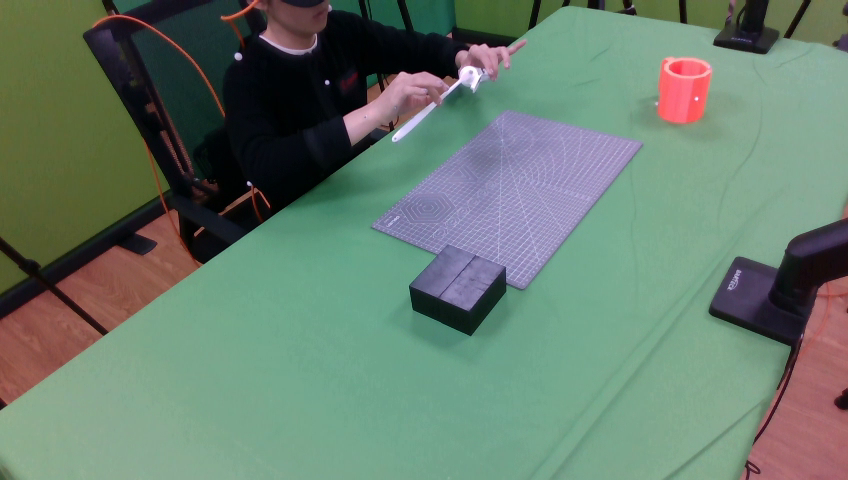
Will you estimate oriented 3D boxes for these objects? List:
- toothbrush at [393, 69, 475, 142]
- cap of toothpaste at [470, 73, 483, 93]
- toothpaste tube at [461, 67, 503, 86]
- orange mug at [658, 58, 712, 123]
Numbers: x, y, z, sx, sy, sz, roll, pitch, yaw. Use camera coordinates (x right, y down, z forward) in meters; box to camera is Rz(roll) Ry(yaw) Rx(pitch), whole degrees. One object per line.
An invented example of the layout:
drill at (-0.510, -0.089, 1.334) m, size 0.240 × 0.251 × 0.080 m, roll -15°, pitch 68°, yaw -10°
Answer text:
toothbrush at (0.015, -0.232, 1.046) m, size 0.182 × 0.014 × 0.016 m, roll -41°, pitch 23°, yaw 6°
cap of toothpaste at (0.091, -0.272, 1.042) m, size 0.011 × 0.037 × 0.037 m, roll 27°, pitch 46°, yaw 2°
toothpaste tube at (0.104, -0.306, 1.125) m, size 0.055 × 0.034 × 0.165 m, roll 8°, pitch 19°, yaw 17°
orange mug at (0.504, -0.304, 1.193) m, size 0.083 × 0.101 × 0.125 m, roll -13°, pitch 45°, yaw -5°
